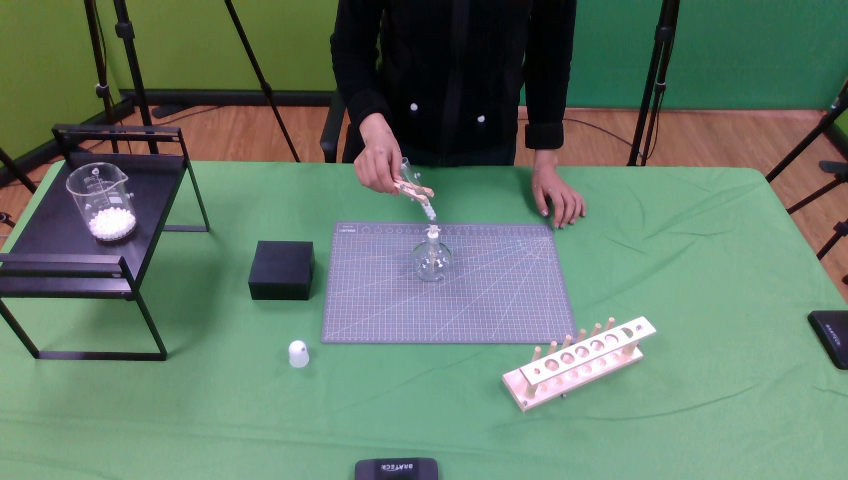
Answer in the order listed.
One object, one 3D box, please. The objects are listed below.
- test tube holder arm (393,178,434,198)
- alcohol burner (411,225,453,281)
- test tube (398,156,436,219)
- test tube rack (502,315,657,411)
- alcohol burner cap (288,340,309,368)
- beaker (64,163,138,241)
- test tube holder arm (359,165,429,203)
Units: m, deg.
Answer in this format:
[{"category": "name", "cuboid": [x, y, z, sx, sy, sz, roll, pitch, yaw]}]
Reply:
[{"category": "test tube holder arm", "cuboid": [-0.020, -0.088, 1.015, 0.087, 0.015, 0.010, 19, 61, 37]}, {"category": "alcohol burner", "cuboid": [0.015, 0.018, 1.110, 0.078, 0.120, 0.077, 1, 45, -1]}, {"category": "test tube", "cuboid": [-0.009, -0.082, 0.993, 0.017, 0.151, 0.017, -12, 51, 16]}, {"category": "test tube rack", "cuboid": [0.253, 0.186, 0.988, 0.242, 0.085, 0.066, -18, 50, -20]}, {"category": "alcohol burner cap", "cuboid": [-0.207, 0.183, 0.991, 0.034, 0.048, 0.033, 3, 46, -3]}, {"category": "beaker", "cuboid": [-0.477, -0.055, 0.910, 0.084, 0.101, 0.073, -9, 48, -13]}, {"category": "test tube holder arm", "cuboid": [-0.055, -0.098, 1.041, 0.177, 0.015, 0.013, 27, 66, 40]}]
